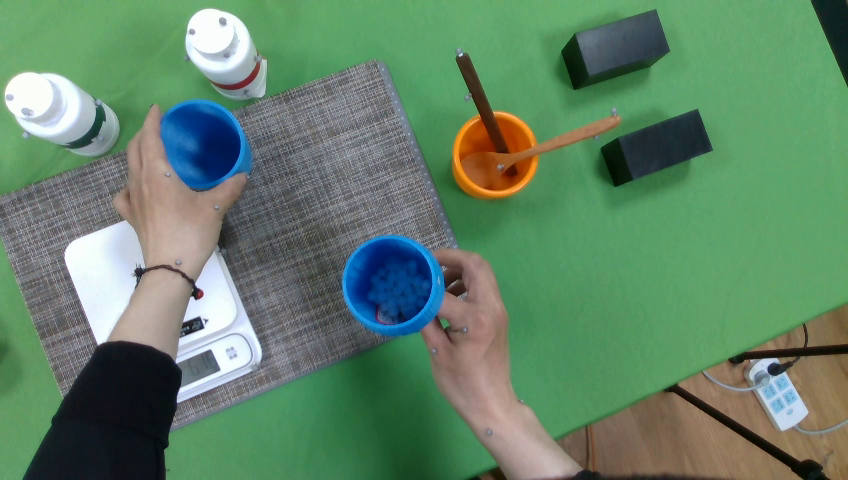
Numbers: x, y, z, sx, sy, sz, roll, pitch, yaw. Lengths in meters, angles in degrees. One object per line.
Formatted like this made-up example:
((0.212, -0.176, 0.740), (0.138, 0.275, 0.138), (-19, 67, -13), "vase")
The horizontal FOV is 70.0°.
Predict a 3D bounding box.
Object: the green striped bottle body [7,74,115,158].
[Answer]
((-0.366, -0.125, 0.608), (0.063, 0.119, 0.063), (0, 86, -5), "green striped bottle body")

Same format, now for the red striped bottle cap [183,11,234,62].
((-0.204, -0.193, 0.573), (0.044, 0.018, 0.044), (0, 84, -4), "red striped bottle cap")

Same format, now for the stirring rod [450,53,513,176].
((0.063, -0.124, 0.633), (0.014, 0.178, 0.005), (-6, 53, 23), "stirring rod")

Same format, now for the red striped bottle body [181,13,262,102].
((-0.209, -0.190, 0.626), (0.063, 0.119, 0.063), (0, 86, -5), "red striped bottle body")

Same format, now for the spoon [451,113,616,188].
((0.109, -0.094, 0.638), (0.021, 0.193, 0.042), (-29, 101, -49), "spoon")

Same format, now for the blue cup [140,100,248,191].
((-0.223, -0.089, 0.625), (0.093, 0.100, 0.092), (0, 87, -6), "blue cup")

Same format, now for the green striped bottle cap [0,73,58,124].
((-0.361, -0.129, 0.552), (0.044, 0.020, 0.044), (0, 87, -4), "green striped bottle cap")

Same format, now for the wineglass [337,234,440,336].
((-0.022, 0.040, 0.479), (0.074, 0.173, 0.073), (0, 81, 3), "wineglass")

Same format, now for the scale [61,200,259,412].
((-0.279, 0.070, 0.646), (0.149, 0.031, 0.201), (-23, 90, -6), "scale")
